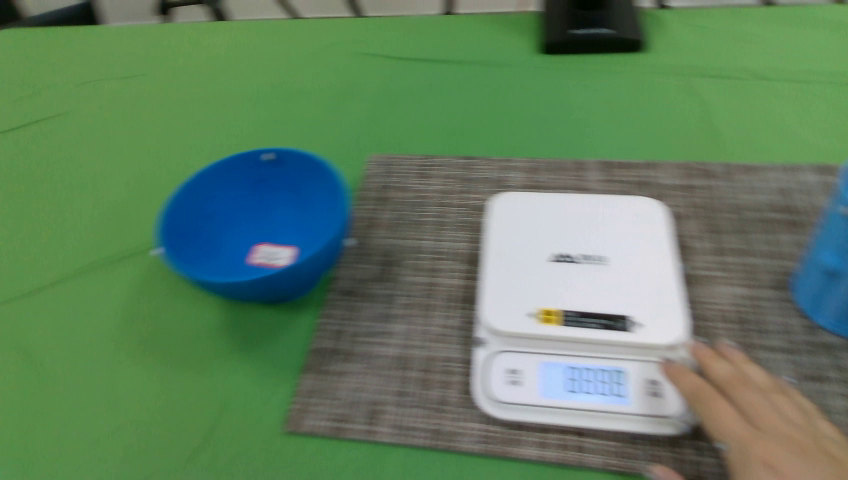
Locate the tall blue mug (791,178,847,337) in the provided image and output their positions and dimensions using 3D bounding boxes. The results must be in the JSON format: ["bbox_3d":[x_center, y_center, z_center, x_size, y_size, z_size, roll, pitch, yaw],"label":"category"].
[{"bbox_3d":[0.319,0.015,0.402,0.078,0.109,0.106,-36,53,-23],"label":"tall blue mug"}]

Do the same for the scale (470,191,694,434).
[{"bbox_3d":[0.117,0.042,0.458,0.148,0.032,0.199,3,49,10],"label":"scale"}]

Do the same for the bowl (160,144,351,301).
[{"bbox_3d":[-0.128,-0.002,0.504,0.151,0.077,0.150,-4,48,4],"label":"bowl"}]
